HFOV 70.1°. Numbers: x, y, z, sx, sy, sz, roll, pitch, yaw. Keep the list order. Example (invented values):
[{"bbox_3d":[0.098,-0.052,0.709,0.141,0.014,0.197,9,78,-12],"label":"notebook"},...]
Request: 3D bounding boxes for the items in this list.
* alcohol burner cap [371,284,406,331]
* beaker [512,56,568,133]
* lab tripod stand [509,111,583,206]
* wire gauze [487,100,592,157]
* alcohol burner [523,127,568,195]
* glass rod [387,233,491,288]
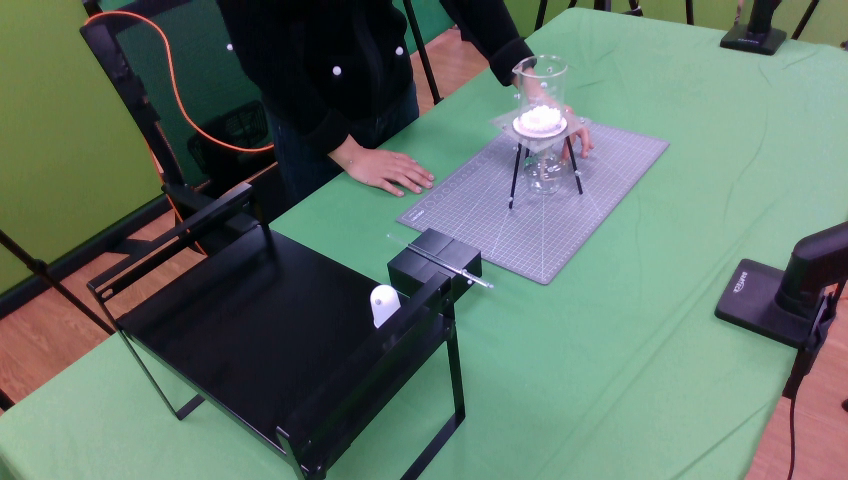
[{"bbox_3d":[-0.037,0.065,0.608,0.034,0.048,0.033,-4,41,4],"label":"alcohol burner cap"},{"bbox_3d":[0.181,-0.225,0.946,0.084,0.101,0.074,3,41,12],"label":"beaker"},{"bbox_3d":[0.198,-0.139,1.019,0.148,0.132,0.147,-3,39,3],"label":"lab tripod stand"},{"bbox_3d":[0.185,-0.187,0.974,0.122,0.011,0.124,-28,47,-22],"label":"wire gauze"},{"bbox_3d":[0.208,-0.139,1.032,0.078,0.119,0.077,-5,38,4],"label":"alcohol burner"},{"bbox_3d":[0.017,0.027,0.877,0.198,0.008,0.008,26,51,34],"label":"glass rod"}]
